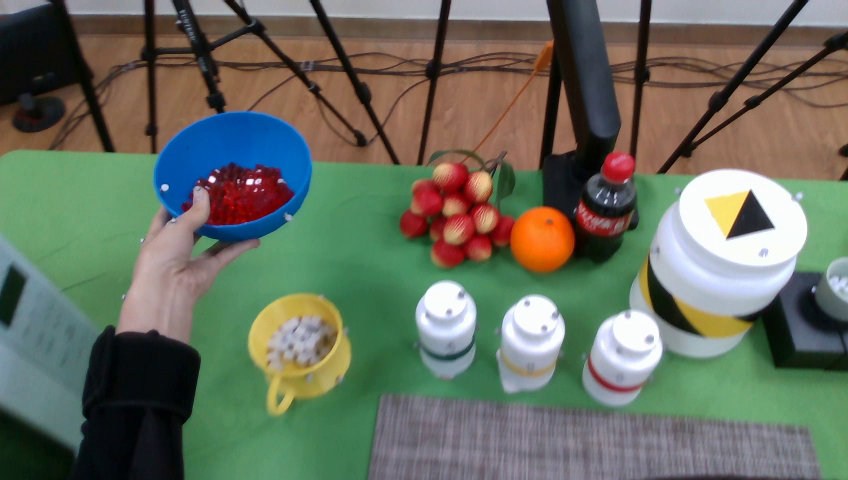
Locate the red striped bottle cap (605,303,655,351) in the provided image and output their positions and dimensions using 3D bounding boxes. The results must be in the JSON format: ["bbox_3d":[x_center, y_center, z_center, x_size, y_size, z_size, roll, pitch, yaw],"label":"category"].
[{"bbox_3d":[0.197,0.082,0.577,0.044,0.018,0.044,1,54,-1],"label":"red striped bottle cap"}]

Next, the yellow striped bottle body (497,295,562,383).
[{"bbox_3d":[0.109,0.098,0.634,0.063,0.121,0.062,-2,55,3],"label":"yellow striped bottle body"}]

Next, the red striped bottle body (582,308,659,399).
[{"bbox_3d":[0.201,0.113,0.620,0.063,0.121,0.062,-3,54,4],"label":"red striped bottle body"}]

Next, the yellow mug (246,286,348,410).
[{"bbox_3d":[-0.143,0.122,0.664,0.099,0.064,0.130,11,58,11],"label":"yellow mug"}]

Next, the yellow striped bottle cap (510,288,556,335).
[{"bbox_3d":[0.107,0.069,0.592,0.044,0.019,0.044,-1,57,2],"label":"yellow striped bottle cap"}]

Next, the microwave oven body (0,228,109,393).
[{"bbox_3d":[-0.497,0.239,0.481,0.326,0.262,0.437,-5,56,0],"label":"microwave oven body"}]

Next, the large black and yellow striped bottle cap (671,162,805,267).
[{"bbox_3d":[0.294,-0.027,0.570,0.115,0.019,0.114,-2,54,3],"label":"large black and yellow striped bottle cap"}]

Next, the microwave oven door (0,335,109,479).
[{"bbox_3d":[-0.348,0.259,0.453,0.039,0.246,0.352,-5,55,1],"label":"microwave oven door"}]

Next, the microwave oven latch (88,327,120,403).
[{"bbox_3d":[-0.356,0.137,0.660,0.030,0.030,0.078,-3,56,1],"label":"microwave oven latch"}]

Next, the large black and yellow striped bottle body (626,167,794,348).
[{"bbox_3d":[0.299,0.020,0.640,0.131,0.185,0.129,-1,56,3],"label":"large black and yellow striped bottle body"}]

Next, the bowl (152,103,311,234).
[{"bbox_3d":[-0.188,-0.059,0.622,0.151,0.077,0.150,1,57,-2],"label":"bowl"}]

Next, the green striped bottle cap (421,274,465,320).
[{"bbox_3d":[0.019,0.056,0.605,0.044,0.020,0.044,-1,54,2],"label":"green striped bottle cap"}]

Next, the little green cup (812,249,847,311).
[{"bbox_3d":[0.448,0.044,0.642,0.061,0.039,0.061,-1,54,1],"label":"little green cup"}]

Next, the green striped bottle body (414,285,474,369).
[{"bbox_3d":[0.022,0.086,0.648,0.063,0.120,0.062,-2,55,3],"label":"green striped bottle body"}]
